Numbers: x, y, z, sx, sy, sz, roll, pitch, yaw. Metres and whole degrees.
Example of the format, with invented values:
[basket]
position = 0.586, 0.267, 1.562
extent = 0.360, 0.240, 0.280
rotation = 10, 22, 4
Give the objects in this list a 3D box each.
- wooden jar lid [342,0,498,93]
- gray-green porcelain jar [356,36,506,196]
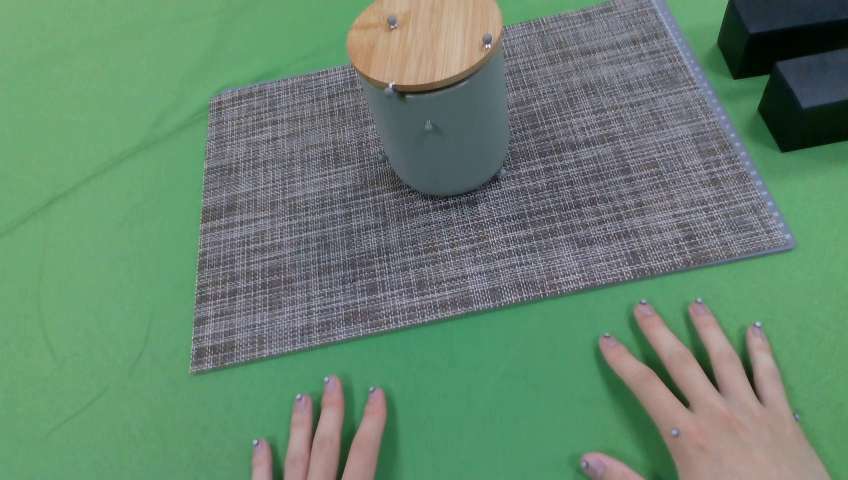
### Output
[wooden jar lid]
position = -0.002, -0.137, 0.421
extent = 0.108, 0.021, 0.107
rotation = -5, 57, 8
[gray-green porcelain jar]
position = 0.010, -0.105, 0.474
extent = 0.106, 0.128, 0.105
rotation = -5, 57, 8
